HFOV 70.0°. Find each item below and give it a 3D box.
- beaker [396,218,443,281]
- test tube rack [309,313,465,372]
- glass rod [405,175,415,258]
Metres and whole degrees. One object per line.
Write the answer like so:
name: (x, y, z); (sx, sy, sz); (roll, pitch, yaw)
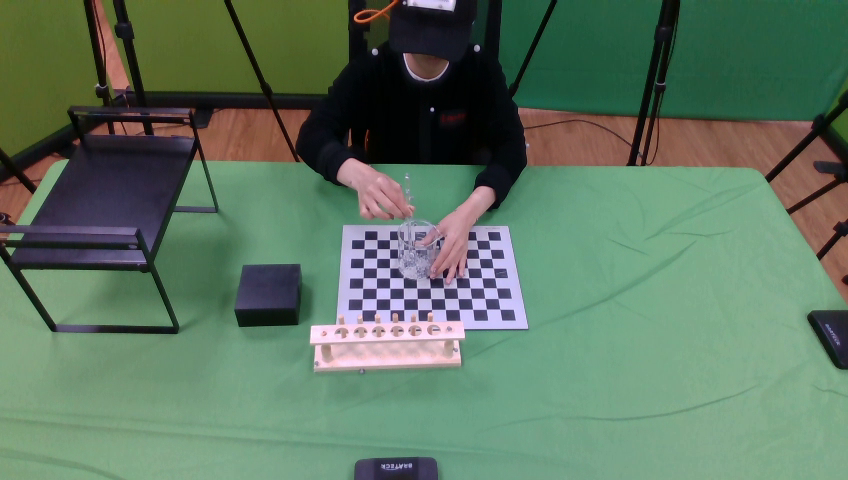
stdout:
beaker: (-0.010, 0.020, 1.115); (0.084, 0.101, 0.073); (2, 46, -3)
test tube rack: (-0.059, 0.161, 0.990); (0.242, 0.085, 0.066); (-1, 46, -5)
glass rod: (-0.024, -0.036, 1.065); (0.008, 0.201, 0.008); (-2, 46, 2)
